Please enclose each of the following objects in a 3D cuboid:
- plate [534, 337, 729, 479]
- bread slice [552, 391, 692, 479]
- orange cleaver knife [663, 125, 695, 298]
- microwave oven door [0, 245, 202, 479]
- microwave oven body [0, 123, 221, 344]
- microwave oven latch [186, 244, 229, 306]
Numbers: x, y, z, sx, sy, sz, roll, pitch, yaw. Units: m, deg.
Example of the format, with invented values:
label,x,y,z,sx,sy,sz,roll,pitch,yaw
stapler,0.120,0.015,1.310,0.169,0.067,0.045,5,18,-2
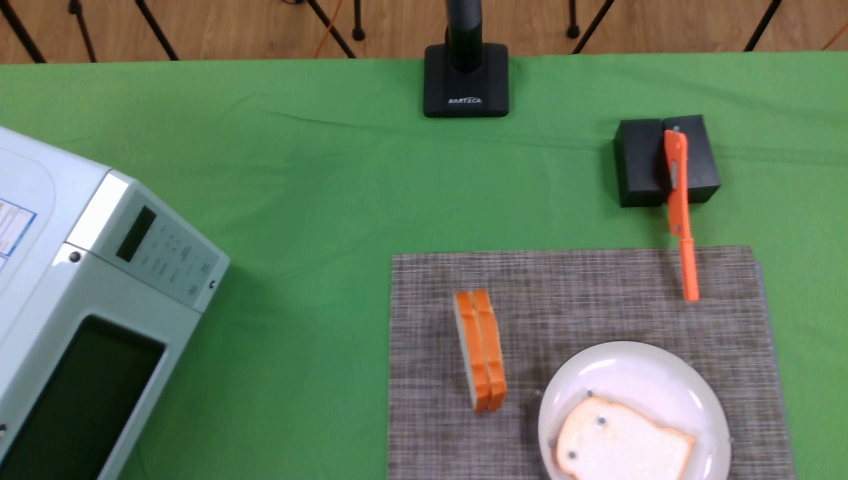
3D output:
label,x,y,z,sx,sy,sz,roll,pitch,yaw
plate,0.225,0.214,0.673,0.207,0.039,0.206,-1,71,4
bread slice,0.210,0.231,0.665,0.134,0.018,0.106,22,71,14
orange cleaver knife,0.306,-0.037,0.734,0.012,0.077,0.211,-5,91,5
microwave oven door,-0.368,0.198,0.599,0.039,0.245,0.354,20,73,12
microwave oven body,-0.486,0.114,0.642,0.325,0.262,0.440,20,74,10
microwave oven latch,-0.274,0.041,0.755,0.030,0.030,0.079,22,75,11
